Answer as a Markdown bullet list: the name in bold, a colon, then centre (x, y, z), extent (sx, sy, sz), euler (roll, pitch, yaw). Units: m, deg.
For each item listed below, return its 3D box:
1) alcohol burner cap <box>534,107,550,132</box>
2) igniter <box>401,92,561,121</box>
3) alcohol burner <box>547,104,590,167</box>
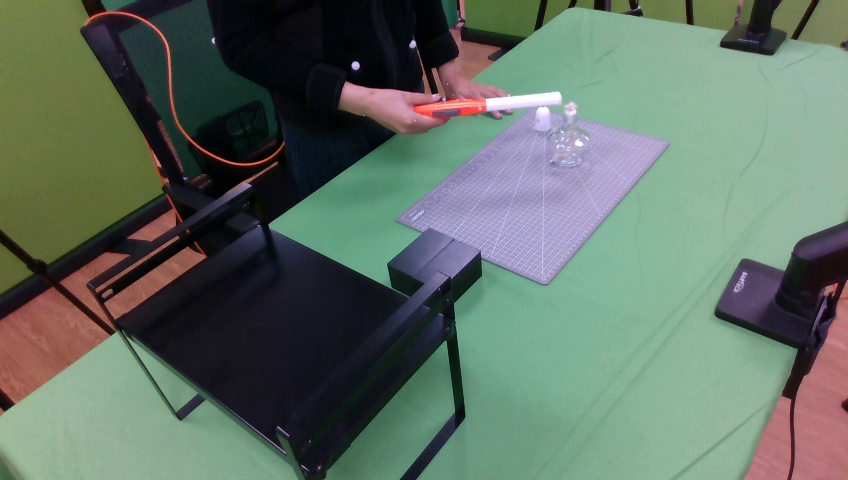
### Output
- **alcohol burner cap**: centre (0.235, -0.243, 1.206), extent (0.034, 0.048, 0.033), euler (-4, 38, 3)
- **igniter**: centre (0.096, -0.232, 1.046), extent (0.276, 0.025, 0.057), euler (-5, 31, 4)
- **alcohol burner**: centre (0.261, -0.192, 1.087), extent (0.078, 0.119, 0.077), euler (-5, 43, 5)
